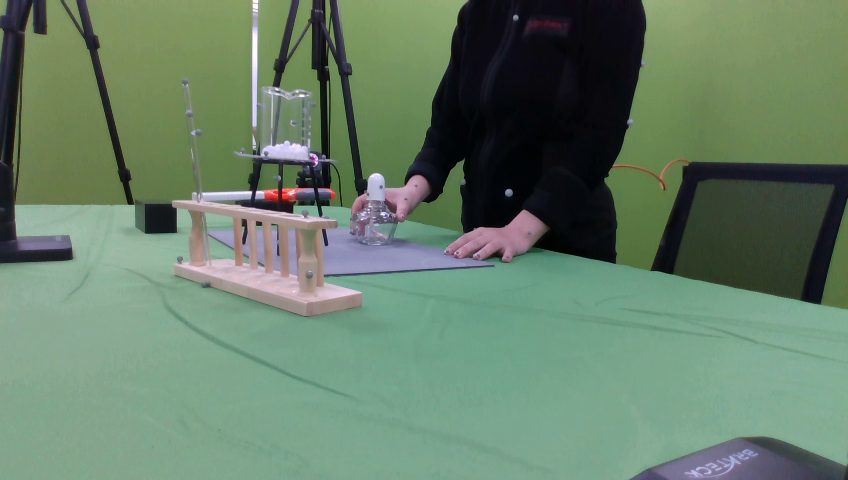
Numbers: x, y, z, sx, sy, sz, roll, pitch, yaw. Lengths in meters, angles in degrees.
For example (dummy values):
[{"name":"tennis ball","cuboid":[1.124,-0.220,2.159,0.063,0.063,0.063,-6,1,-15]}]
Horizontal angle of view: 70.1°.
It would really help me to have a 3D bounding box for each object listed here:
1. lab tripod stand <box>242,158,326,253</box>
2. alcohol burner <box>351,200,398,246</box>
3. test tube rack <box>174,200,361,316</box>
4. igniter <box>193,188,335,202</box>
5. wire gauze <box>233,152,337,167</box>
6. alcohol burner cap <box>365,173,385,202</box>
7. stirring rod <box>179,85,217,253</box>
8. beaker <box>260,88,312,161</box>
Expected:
[{"name":"lab tripod stand","cuboid":[-0.207,-0.054,0.895,0.148,0.131,0.148,3,5,0]},{"name":"alcohol burner","cuboid":[-0.081,-0.051,0.995,0.078,0.119,0.078,1,6,0]},{"name":"test tube rack","cuboid":[-0.169,0.010,0.622,0.241,0.085,0.067,9,9,41]},{"name":"igniter","cuboid":[-0.312,-0.089,1.209,0.278,0.025,0.057,-5,13,-31]},{"name":"wire gauze","cuboid":[-0.205,-0.119,0.887,0.122,0.011,0.124,2,4,-32]},{"name":"alcohol burner cap","cuboid":[-0.080,-0.086,0.990,0.034,0.048,0.034,1,2,0]},{"name":"stirring rod","cuboid":[-0.237,-0.073,0.634,0.006,0.176,0.014,0,10,42]},{"name":"beaker","cuboid":[-0.201,-0.166,0.876,0.074,0.100,0.083,1,7,-18]}]
